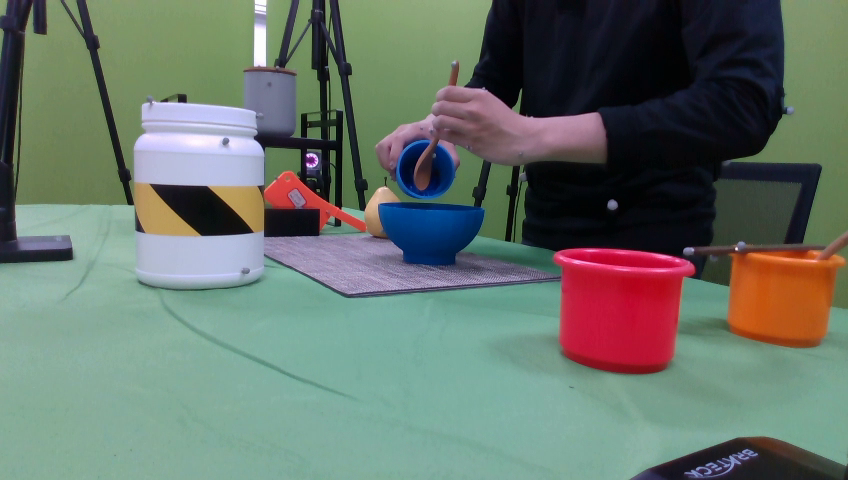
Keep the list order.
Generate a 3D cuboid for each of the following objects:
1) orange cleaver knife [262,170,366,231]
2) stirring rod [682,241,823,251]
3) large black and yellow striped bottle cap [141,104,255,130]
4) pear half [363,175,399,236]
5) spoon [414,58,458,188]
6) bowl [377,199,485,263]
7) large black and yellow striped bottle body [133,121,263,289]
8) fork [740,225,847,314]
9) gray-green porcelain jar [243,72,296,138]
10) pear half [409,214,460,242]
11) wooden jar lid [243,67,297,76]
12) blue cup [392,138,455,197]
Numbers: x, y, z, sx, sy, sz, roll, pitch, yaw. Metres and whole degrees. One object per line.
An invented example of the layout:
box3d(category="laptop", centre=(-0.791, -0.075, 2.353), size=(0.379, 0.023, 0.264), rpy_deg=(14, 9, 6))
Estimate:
box3d(category="orange cleaver knife", centre=(-0.201, -0.057, 1.136), size=(0.212, 0.077, 0.012), rpy_deg=(31, -3, -31))
box3d(category="stirring rod", centre=(0.289, 0.005, 0.525), size=(0.177, 0.006, 0.014), rpy_deg=(-1, 5, -26))
box3d(category="large black and yellow striped bottle cap", centre=(-0.241, -0.131, 0.650), size=(0.115, 0.019, 0.115), rpy_deg=(3, 8, 0))
box3d(category="pear half", centre=(-0.064, -0.061, 1.077), size=(0.055, 0.110, 0.077), rpy_deg=(9, 14, 39))
box3d(category="spoon", centre=(0.019, -0.153, 0.818), size=(0.021, 0.193, 0.042), rpy_deg=(36, 39, 19))
box3d(category="bowl", centre=(0.008, -0.013, 0.842), size=(0.151, 0.077, 0.151), rpy_deg=(2, 8, 0))
box3d(category="large black and yellow striped bottle body", centre=(-0.243, -0.048, 0.659), size=(0.131, 0.184, 0.130), rpy_deg=(2, 7, 0))
box3d(category="fork", centre=(0.323, 0.013, 0.485), size=(0.028, 0.018, 0.207), rpy_deg=(8, -38, -5))
box3d(category="gray-green porcelain jar", centre=(-0.322, -0.279, 1.263), size=(0.106, 0.126, 0.106), rpy_deg=(3, 8, 0))
box3d(category="pear half", centre=(0.012, -0.020, 0.848), size=(0.070, 0.031, 0.088), rpy_deg=(2, 11, 33))
box3d(category="wooden jar lid", centre=(-0.319, -0.342, 1.254), size=(0.108, 0.020, 0.108), rpy_deg=(3, 8, 0))
box3d(category="blue cup", centre=(-0.007, -0.104, 0.908), size=(0.093, 0.092, 0.100), rpy_deg=(1, 1, -12))
